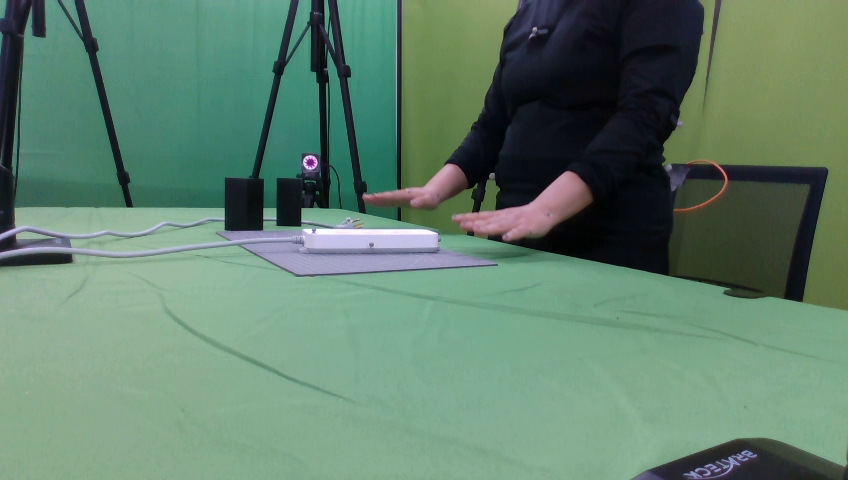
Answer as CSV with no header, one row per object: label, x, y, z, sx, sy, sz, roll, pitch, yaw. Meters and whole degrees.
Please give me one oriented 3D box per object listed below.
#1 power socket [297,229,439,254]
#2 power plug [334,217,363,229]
power socket,-0.084,0.001,0.942,0.228,0.032,0.072,0,7,-20
power plug,-0.143,-0.031,1.129,0.053,0.035,0.072,-16,22,-9
